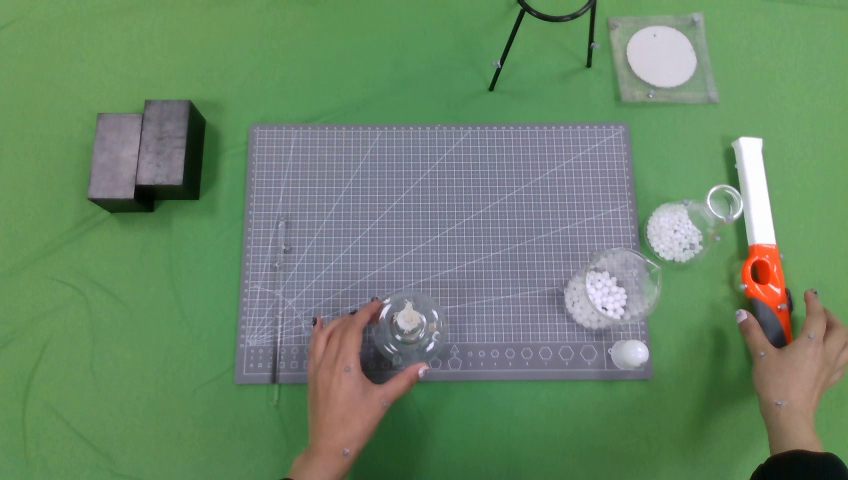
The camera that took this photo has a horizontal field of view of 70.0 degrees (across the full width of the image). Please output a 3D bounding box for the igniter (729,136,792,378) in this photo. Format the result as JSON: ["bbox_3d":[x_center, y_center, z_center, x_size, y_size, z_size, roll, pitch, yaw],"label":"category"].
[{"bbox_3d":[0.377,0.015,0.681,0.057,0.025,0.275,3,77,-12],"label":"igniter"}]

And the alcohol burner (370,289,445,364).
[{"bbox_3d":[-0.018,0.085,0.611,0.078,0.119,0.077,0,75,1],"label":"alcohol burner"}]

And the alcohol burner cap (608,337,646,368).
[{"bbox_3d":[0.218,0.118,0.644,0.034,0.048,0.033,0,76,-1],"label":"alcohol burner cap"}]

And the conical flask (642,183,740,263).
[{"bbox_3d":[0.286,-0.023,0.640,0.075,0.122,0.075,0,76,0],"label":"conical flask"}]

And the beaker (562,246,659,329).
[{"bbox_3d":[0.190,0.052,0.630,0.084,0.100,0.073,-24,78,-7],"label":"beaker"}]

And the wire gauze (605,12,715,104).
[{"bbox_3d":[0.292,-0.225,0.746,0.125,0.011,0.121,-2,77,-3],"label":"wire gauze"}]

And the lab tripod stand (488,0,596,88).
[{"bbox_3d":[0.132,-0.248,0.685,0.148,0.132,0.147,0,78,-1],"label":"lab tripod stand"}]

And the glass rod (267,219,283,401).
[{"bbox_3d":[-0.163,0.074,0.664,0.008,0.008,0.199,1,79,-1],"label":"glass rod"}]
